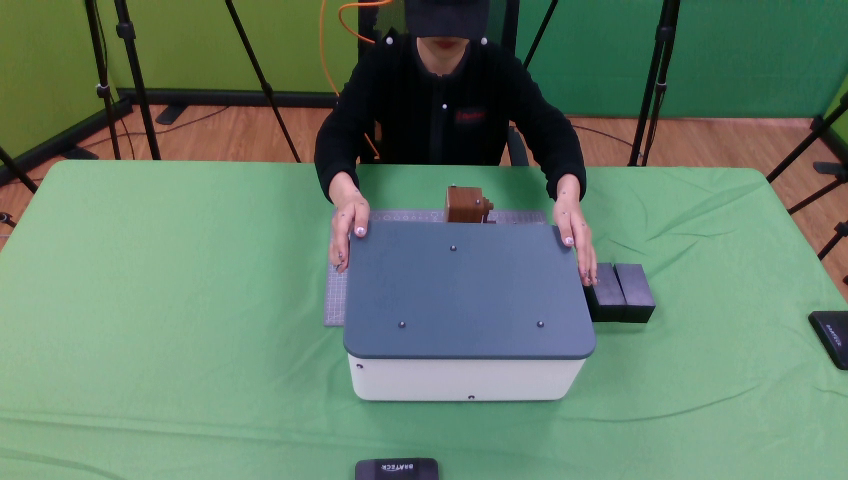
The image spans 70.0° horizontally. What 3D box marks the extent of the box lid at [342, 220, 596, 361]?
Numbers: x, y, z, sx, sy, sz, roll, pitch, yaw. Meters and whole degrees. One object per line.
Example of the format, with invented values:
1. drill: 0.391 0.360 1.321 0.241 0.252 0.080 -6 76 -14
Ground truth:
1. box lid: 0.066 0.070 0.934 0.372 0.015 0.261 1 48 -4

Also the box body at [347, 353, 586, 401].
1. box body: 0.060 0.120 0.989 0.364 0.161 0.252 1 47 -4

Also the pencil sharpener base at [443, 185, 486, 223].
1. pencil sharpener base: 0.078 -0.049 1.188 0.077 0.107 0.061 2 46 -3

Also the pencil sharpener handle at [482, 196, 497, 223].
1. pencil sharpener handle: 0.130 -0.056 1.182 0.031 0.068 0.036 2 43 -3
